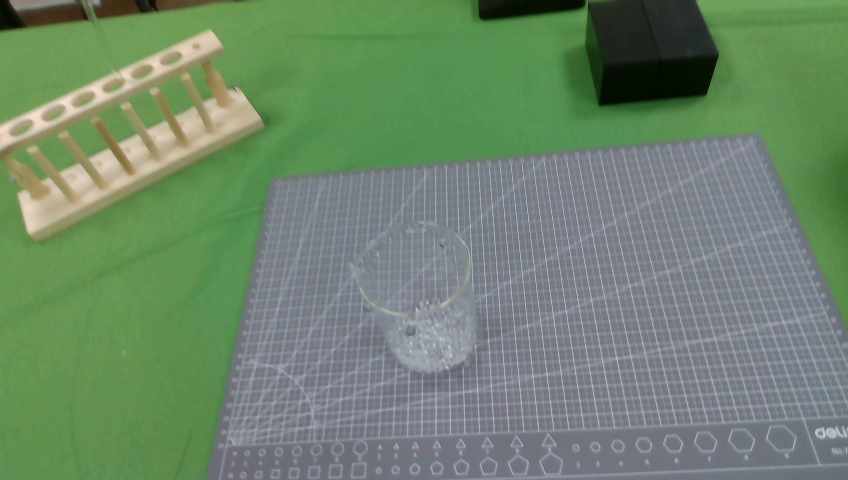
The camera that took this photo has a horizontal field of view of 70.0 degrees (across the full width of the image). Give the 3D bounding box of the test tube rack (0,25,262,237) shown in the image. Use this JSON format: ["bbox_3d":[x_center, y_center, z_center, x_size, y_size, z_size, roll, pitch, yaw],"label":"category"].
[{"bbox_3d":[-0.291,-0.107,0.586,0.242,0.086,0.066,-31,56,-13],"label":"test tube rack"}]

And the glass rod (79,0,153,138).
[{"bbox_3d":[-0.286,-0.171,0.548,0.008,0.201,0.008,-2,48,3],"label":"glass rod"}]

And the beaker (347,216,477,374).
[{"bbox_3d":[-0.003,0.043,0.422,0.084,0.101,0.073,4,55,13],"label":"beaker"}]
